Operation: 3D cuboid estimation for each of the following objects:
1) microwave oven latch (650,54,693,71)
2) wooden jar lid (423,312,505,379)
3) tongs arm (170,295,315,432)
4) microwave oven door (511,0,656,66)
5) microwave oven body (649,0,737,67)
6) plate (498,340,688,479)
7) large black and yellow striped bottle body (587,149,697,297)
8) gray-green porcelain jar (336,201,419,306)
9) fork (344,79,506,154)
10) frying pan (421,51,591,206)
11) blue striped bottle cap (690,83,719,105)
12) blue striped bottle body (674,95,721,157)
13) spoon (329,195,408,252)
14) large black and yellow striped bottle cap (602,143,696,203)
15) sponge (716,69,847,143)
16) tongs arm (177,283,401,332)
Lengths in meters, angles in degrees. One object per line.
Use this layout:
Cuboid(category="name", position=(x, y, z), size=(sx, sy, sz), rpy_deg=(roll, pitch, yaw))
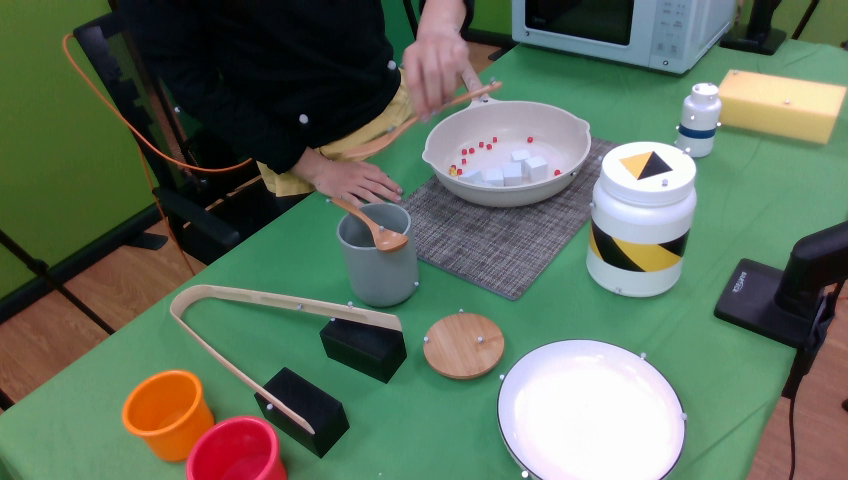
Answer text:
Cuboid(category="microwave oven latch", position=(0.531, -0.386, 1.301), size=(0.078, 0.029, 0.030), rpy_deg=(26, 51, 33))
Cuboid(category="wooden jar lid", position=(0.053, 0.142, 0.800), size=(0.108, 0.021, 0.108), rpy_deg=(-5, 39, 4))
Cuboid(category="tongs arm", position=(-0.248, 0.148, 0.775), size=(0.384, 0.028, 0.028), rpy_deg=(20, 56, 44))
Cuboid(category="microwave oven door", position=(0.350, -0.539, 1.348), size=(0.353, 0.245, 0.039), rpy_deg=(24, 50, 31))
Cuboid(category="microwave oven body", position=(0.475, -0.602, 1.411), size=(0.438, 0.261, 0.327), rpy_deg=(23, 50, 32))
Cuboid(category="plate", position=(0.189, 0.206, 0.692), size=(0.207, 0.039, 0.206), rpy_deg=(-4, 40, 4))
Cuboid(category="large black and yellow striped bottle body", position=(0.298, -0.026, 0.835), size=(0.131, 0.185, 0.130), rpy_deg=(-4, 41, 4))
Cuboid(category="gray-green porcelain jar", position=(-0.064, 0.024, 0.872), size=(0.106, 0.127, 0.105), rpy_deg=(-4, 41, 4))
Cuboid(category="fork", position=(0.003, -0.146, 0.708), size=(0.207, 0.019, 0.028), rpy_deg=(-28, 35, -5))
Cuboid(category="frying pan", position=(0.127, -0.233, 1.155), size=(0.307, 0.103, 0.484), rpy_deg=(-11, 49, -5))
Cuboid(category="blue striped bottle cap", position=(0.481, -0.251, 1.038), size=(0.044, 0.021, 0.044), rpy_deg=(-5, 40, 5))
Cuboid(category="blue striped bottle body", position=(0.486, -0.213, 1.072), size=(0.063, 0.121, 0.063), rpy_deg=(-4, 41, 4))
Cuboid(category="spoon", position=(-0.082, -0.029, 0.828), size=(0.042, 0.022, 0.192), rpy_deg=(-32, 43, -20))
Cuboid(category="large black and yellow striped bottle cap", position=(0.289, -0.088, 0.779), size=(0.115, 0.019, 0.114), rpy_deg=(-5, 39, 4))
Cuboid(category="sponge", position=(0.663, -0.256, 1.142), size=(0.205, 0.061, 0.118), rpy_deg=(19, 47, 28))
Cuboid(category="tongs arm", position=(-0.199, 0.096, 0.823), size=(0.382, 0.027, 0.051), rpy_deg=(7, 44, 34))
